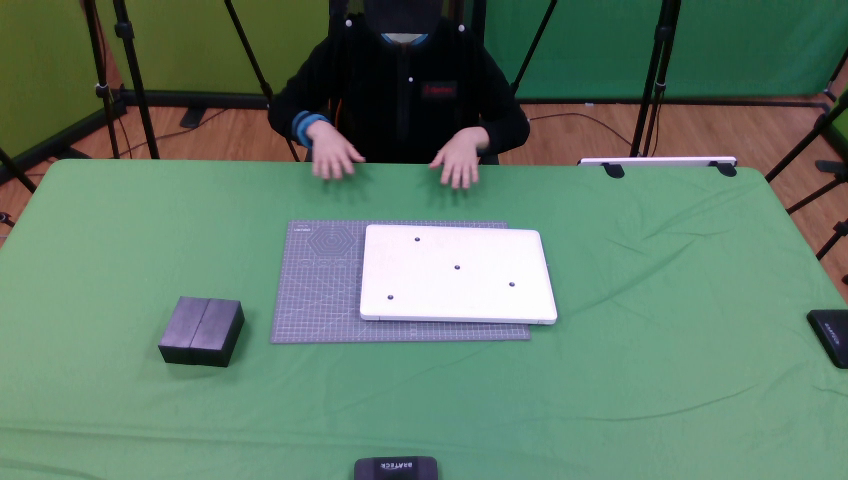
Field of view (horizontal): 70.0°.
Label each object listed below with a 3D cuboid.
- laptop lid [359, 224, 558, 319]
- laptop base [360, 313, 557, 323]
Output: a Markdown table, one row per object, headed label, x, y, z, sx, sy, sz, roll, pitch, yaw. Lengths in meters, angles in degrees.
| label | x | y | z | sx | sy | sz | roll | pitch | yaw |
| --- | --- | --- | --- | --- | --- | --- | --- | --- | --- |
| laptop lid | 0.061 | 0.053 | 1.137 | 0.357 | 0.013 | 0.240 | 3 | 44 | -2 |
| laptop base | 0.061 | 0.063 | 1.145 | 0.355 | 0.023 | 0.234 | 2 | 43 | -4 |
